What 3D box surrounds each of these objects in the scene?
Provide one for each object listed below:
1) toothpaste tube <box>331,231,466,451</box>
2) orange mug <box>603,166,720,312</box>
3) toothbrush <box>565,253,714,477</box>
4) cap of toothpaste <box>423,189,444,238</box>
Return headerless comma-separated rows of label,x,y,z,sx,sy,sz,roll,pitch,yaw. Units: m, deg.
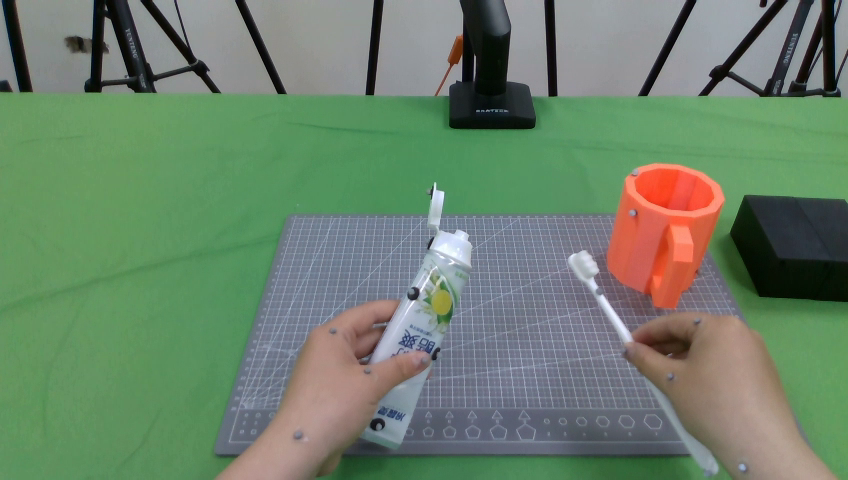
toothpaste tube,-0.011,0.068,0.439,0.055,0.165,0.034,25,-6,-15
orange mug,0.222,0.002,0.568,0.083,0.101,0.125,5,36,7
toothbrush,0.156,0.088,0.439,0.014,0.017,0.181,-22,77,-36
cap of toothpaste,0.008,-0.020,0.450,0.011,0.037,0.037,10,40,6
